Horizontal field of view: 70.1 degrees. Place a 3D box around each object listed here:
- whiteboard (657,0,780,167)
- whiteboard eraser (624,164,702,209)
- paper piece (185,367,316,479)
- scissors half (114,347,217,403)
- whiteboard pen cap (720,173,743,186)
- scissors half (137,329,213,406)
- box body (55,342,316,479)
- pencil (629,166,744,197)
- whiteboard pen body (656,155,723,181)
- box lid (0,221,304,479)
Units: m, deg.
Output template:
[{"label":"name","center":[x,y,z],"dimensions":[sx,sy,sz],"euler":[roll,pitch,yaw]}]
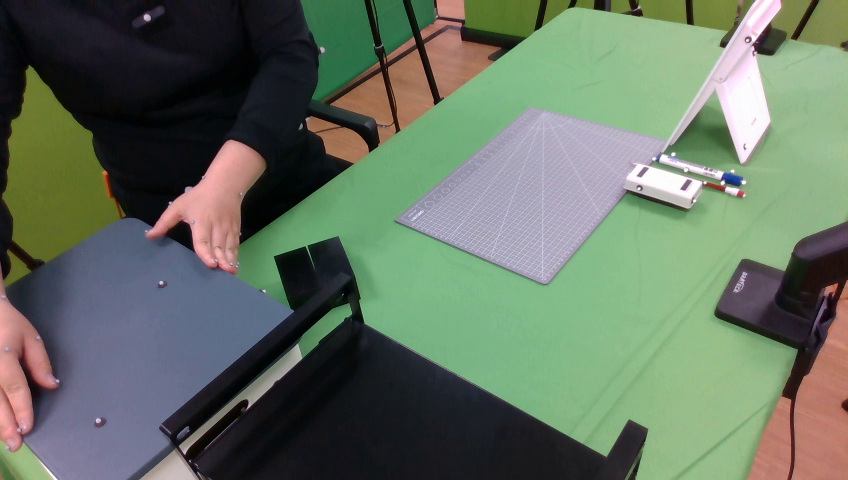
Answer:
[{"label":"whiteboard","center":[0.571,-0.272,1.038],"dimensions":[0.143,0.306,0.218],"euler":[37,54,17]},{"label":"whiteboard eraser","center":[0.396,-0.087,1.003],"dimensions":[0.112,0.042,0.056],"euler":[22,48,31]},{"label":"paper piece","center":[-0.222,0.234,0.757],"dimensions":[0.136,0.009,0.137],"euler":[-39,36,-23]},{"label":"scissors half","center":[-0.349,0.185,0.812],"dimensions":[0.174,0.013,0.040],"euler":[16,52,18]},{"label":"whiteboard pen cap","center":[0.519,-0.103,1.020],"dimensions":[0.033,0.018,0.018],"euler":[23,49,30]},{"label":"scissors half","center":[-0.336,0.173,0.824],"dimensions":[0.040,0.013,0.174],"euler":[-35,54,-30]},{"label":"box body","center":[-0.340,0.162,0.727],"dimensions":[0.361,0.161,0.255],"euler":[23,49,31]},{"label":"pencil","center":[0.446,-0.103,1.038],"dimensions":[0.192,0.012,0.012],"euler":[20,48,29]},{"label":"whiteboard pen body","center":[0.475,-0.122,1.052],"dimensions":[0.139,0.017,0.017],"euler":[25,50,31]},{"label":"box lid","center":[-0.340,0.102,0.674],"dimensions":[0.368,0.015,0.264],"euler":[23,47,31]}]
